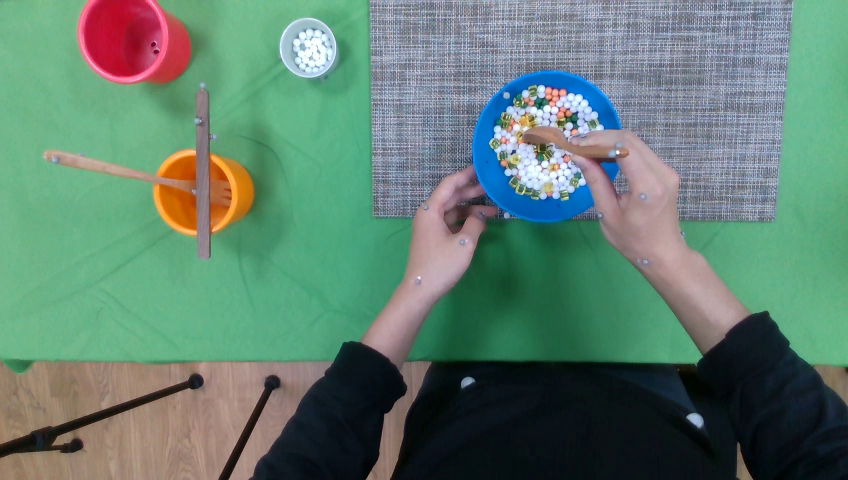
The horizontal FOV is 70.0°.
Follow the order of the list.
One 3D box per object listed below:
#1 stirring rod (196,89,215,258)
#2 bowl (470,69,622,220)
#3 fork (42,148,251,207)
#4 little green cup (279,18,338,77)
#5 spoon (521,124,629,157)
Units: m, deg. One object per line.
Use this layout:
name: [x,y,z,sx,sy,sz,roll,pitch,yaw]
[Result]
stirring rod: [-0.229,-0.068,0.633,0.014,0.006,0.176,2,99,4]
bowl: [0.124,-0.098,0.639,0.151,0.076,0.151,1,98,4]
fork: [-0.282,-0.065,0.639,0.209,0.018,0.028,12,105,-42]
little green cup: [-0.124,-0.207,0.663,0.061,0.038,0.061,1,99,4]
spoon: [0.135,-0.088,0.548,0.042,0.192,0.022,8,105,-14]
